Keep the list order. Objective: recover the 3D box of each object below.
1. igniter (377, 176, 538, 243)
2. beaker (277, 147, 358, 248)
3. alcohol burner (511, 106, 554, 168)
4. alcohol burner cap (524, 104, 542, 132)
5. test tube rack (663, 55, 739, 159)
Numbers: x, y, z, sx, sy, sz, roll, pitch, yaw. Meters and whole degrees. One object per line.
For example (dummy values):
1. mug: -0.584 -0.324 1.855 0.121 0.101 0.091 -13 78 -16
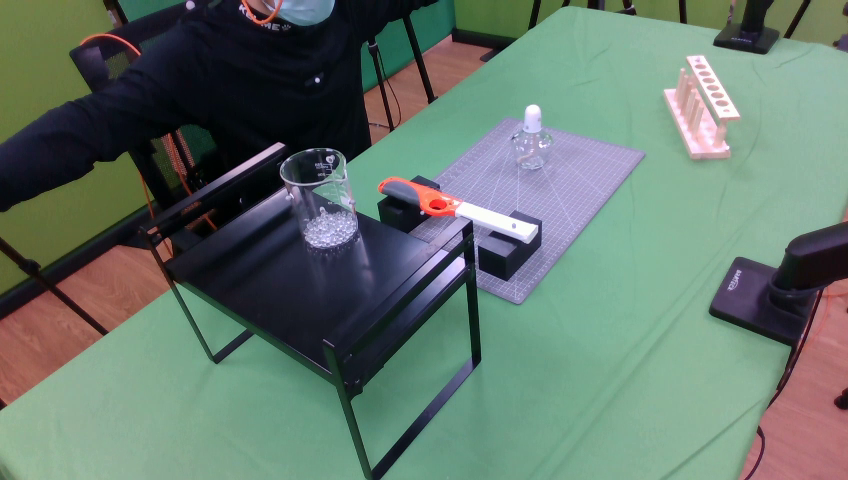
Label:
1. igniter: 0.046 -0.052 0.942 0.274 0.025 0.057 21 47 26
2. beaker: -0.117 -0.046 0.705 0.083 0.101 0.074 17 47 25
3. alcohol burner: 0.196 -0.190 1.088 0.078 0.119 0.077 -3 42 3
4. alcohol burner cap: 0.193 -0.216 1.065 0.034 0.048 0.033 -4 36 3
5. test tube rack: 0.518 -0.256 1.144 0.066 0.085 0.241 -1 41 8
